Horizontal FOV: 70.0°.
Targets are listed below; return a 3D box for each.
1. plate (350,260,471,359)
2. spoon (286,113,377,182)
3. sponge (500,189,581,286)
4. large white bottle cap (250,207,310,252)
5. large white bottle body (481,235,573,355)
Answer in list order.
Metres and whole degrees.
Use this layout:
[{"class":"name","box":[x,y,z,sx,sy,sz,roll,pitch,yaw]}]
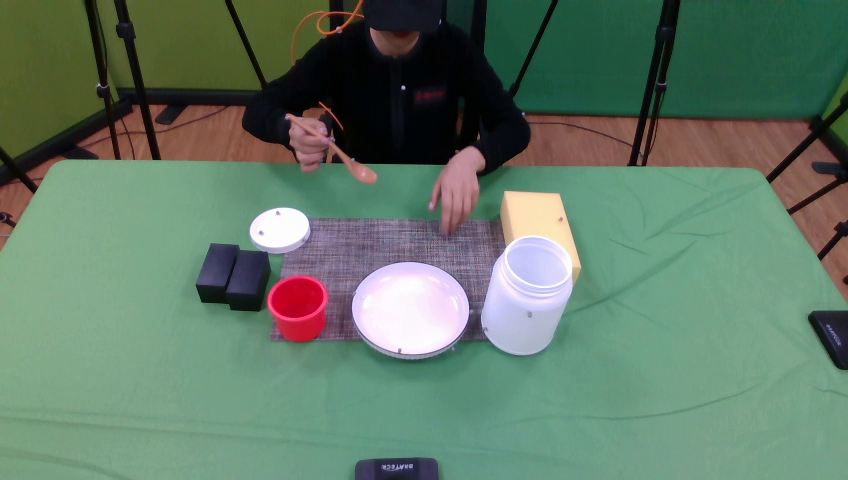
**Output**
[{"class":"plate","box":[-0.024,0.124,1.061,0.209,0.038,0.208,2,46,-2]},{"class":"spoon","box":[-0.162,-0.165,1.074,0.194,0.021,0.041,40,40,-25]},{"class":"sponge","box":[0.224,-0.007,1.192,0.118,0.061,0.205,1,47,-6]},{"class":"large white bottle cap","box":[-0.284,-0.022,1.197,0.115,0.018,0.114,1,46,-1]},{"class":"large white bottle body","box":[0.171,0.091,1.006,0.131,0.185,0.130,3,48,-3]}]
